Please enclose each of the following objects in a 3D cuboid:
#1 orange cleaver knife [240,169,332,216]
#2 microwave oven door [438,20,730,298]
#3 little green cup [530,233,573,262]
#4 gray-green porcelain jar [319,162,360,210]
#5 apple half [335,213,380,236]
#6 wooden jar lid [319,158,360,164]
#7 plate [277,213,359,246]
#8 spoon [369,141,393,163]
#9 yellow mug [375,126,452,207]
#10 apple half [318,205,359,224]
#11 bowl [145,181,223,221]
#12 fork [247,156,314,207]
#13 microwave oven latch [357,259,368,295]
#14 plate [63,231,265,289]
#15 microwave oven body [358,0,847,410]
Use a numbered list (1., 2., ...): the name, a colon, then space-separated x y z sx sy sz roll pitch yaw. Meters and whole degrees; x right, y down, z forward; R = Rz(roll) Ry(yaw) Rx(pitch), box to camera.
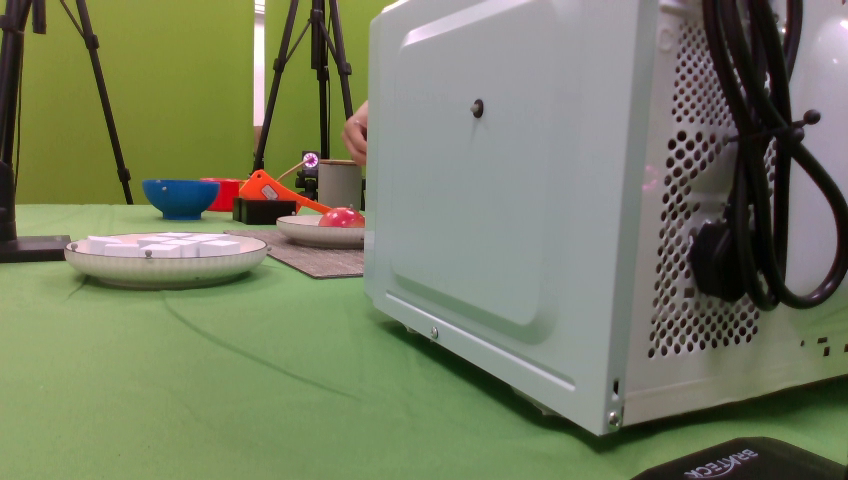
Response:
1. orange cleaver knife: -0.286 -0.082 1.298 0.212 0.077 0.012 25 -2 -31
2. microwave oven door: 0.181 -0.076 0.618 0.358 0.243 0.039 -2 8 -28
3. little green cup: 0.184 0.010 0.880 0.061 0.038 0.061 2 5 0
4. gray-green porcelain jar: -0.205 -0.126 1.489 0.106 0.126 0.106 2 7 0
5. apple half: -0.112 -0.029 1.034 0.081 0.033 0.081 0 10 0
6. wooden jar lid: -0.203 -0.189 1.482 0.108 0.020 0.108 2 10 0
7. plate: -0.135 -0.018 0.993 0.209 0.038 0.209 2 7 0
8. spoon: -0.073 -0.154 1.023 0.042 0.021 0.193 24 15 -11
9. yellow mug: -0.007 -0.119 0.927 0.100 0.130 0.064 5 43 -56
10. apple half: -0.126 -0.029 0.954 0.081 0.053 0.074 -2 11 -33
11. bowl: -0.499 -0.081 1.261 0.151 0.077 0.151 2 8 0
12. fork: -0.360 -0.147 1.523 0.207 0.018 0.028 -43 15 -7
13. microwave oven latch: -0.019 0.031 0.529 0.079 0.029 0.030 -1 7 -26
14. plate: -0.288 0.021 0.687 0.208 0.039 0.207 2 8 0
15. microwave oven body: 0.210 -0.051 0.471 0.444 0.260 0.324 -1 7 -28
